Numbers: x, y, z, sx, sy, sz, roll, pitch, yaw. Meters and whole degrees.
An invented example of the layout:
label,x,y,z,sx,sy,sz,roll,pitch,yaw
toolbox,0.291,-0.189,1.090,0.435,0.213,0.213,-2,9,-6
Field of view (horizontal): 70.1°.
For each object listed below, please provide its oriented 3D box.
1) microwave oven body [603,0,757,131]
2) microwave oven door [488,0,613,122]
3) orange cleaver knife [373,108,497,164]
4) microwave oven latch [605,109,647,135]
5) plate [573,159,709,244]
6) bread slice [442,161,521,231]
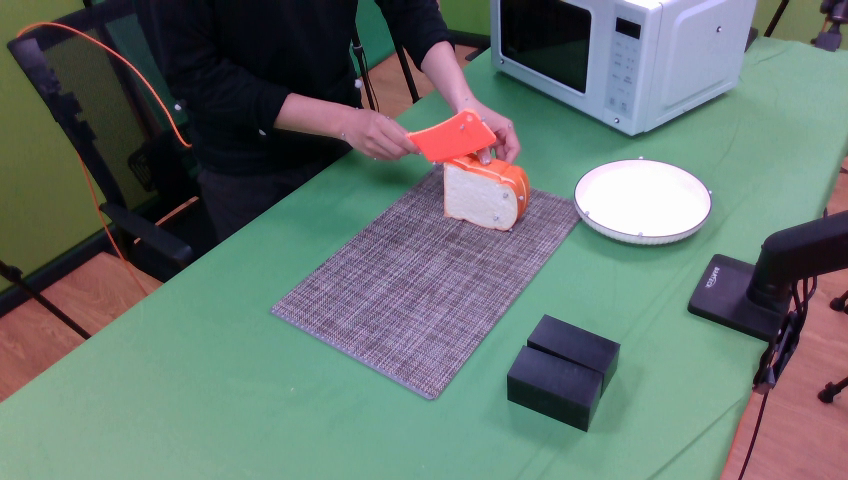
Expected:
label,x,y,z,sx,sy,sz,roll,pitch,yaw
microwave oven body,0.396,-0.448,1.248,0.327,0.261,0.437,-27,44,-21
microwave oven door,0.250,-0.412,1.219,0.039,0.245,0.352,-27,44,-21
orange cleaver knife,0.013,-0.154,0.957,0.210,0.078,0.012,-10,38,34
microwave oven latch,0.379,-0.225,1.139,0.030,0.029,0.078,-26,43,-20
plate,0.347,-0.059,0.979,0.207,0.039,0.206,-4,41,4
bread slice,0.091,-0.068,0.966,0.133,0.107,0.018,15,45,25
